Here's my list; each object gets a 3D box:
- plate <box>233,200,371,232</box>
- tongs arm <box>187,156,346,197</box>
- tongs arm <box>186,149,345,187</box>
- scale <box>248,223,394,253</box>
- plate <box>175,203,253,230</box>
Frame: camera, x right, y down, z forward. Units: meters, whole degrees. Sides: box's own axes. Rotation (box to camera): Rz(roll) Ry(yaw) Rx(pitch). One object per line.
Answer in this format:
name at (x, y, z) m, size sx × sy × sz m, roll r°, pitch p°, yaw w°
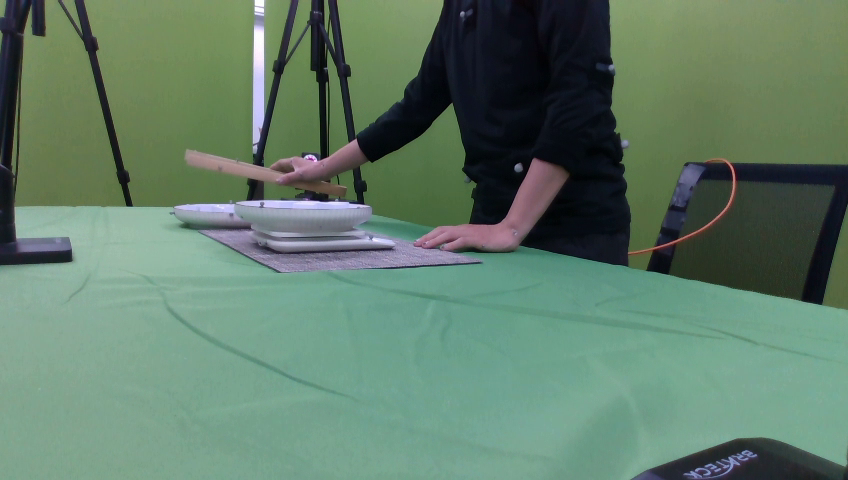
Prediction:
plate at (-0.188, -0.039, 0.939) m, size 0.209 × 0.038 × 0.209 m, roll 2°, pitch 7°, yaw 0°
tongs arm at (-0.356, -0.146, 1.428) m, size 0.390 × 0.028 × 0.028 m, roll 9°, pitch 5°, yaw -33°
tongs arm at (-0.384, -0.164, 1.494) m, size 0.387 × 0.026 × 0.050 m, roll 12°, pitch 8°, yaw -22°
scale at (-0.162, -0.006, 0.954) m, size 0.202 × 0.031 × 0.148 m, roll -1°, pitch 9°, yaw -32°
plate at (-0.381, -0.047, 1.199) m, size 0.208 × 0.039 × 0.207 m, roll 3°, pitch 7°, yaw 0°
